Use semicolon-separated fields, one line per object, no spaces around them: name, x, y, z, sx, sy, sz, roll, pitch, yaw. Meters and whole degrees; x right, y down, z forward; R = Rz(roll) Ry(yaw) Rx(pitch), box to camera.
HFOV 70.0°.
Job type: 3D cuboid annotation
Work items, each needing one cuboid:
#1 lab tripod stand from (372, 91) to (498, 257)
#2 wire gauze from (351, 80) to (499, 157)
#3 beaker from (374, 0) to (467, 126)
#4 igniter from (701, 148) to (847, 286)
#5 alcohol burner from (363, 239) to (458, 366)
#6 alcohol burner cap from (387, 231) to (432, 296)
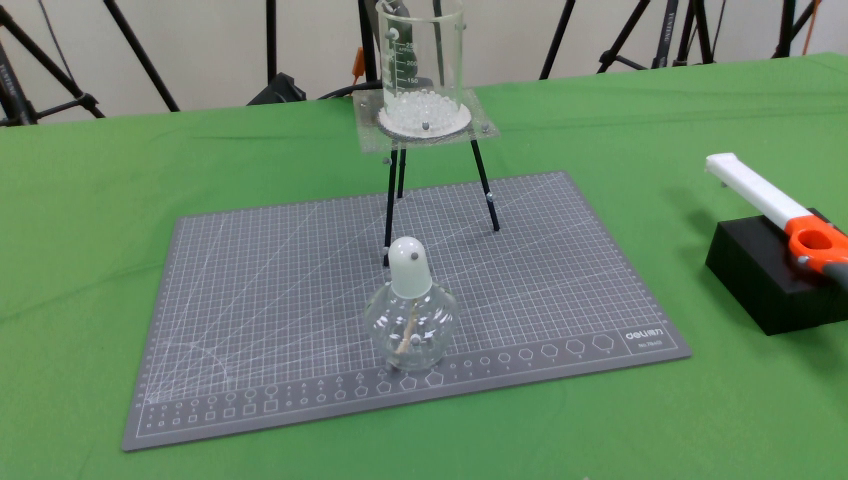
lab tripod stand;0.003;-0.070;0.601;0.148;0.132;0.147;0;37;0
wire gauze;-0.004;-0.119;0.557;0.121;0.011;0.123;-8;41;-6
beaker;-0.005;-0.158;0.527;0.074;0.101;0.083;-31;47;-33
igniter;0.334;-0.013;0.531;0.057;0.025;0.273;-9;36;-8
alcohol burner;-0.011;0.043;0.477;0.078;0.120;0.077;0;41;1
alcohol burner cap;-0.012;0.015;0.454;0.034;0.048;0.033;-3;42;3
